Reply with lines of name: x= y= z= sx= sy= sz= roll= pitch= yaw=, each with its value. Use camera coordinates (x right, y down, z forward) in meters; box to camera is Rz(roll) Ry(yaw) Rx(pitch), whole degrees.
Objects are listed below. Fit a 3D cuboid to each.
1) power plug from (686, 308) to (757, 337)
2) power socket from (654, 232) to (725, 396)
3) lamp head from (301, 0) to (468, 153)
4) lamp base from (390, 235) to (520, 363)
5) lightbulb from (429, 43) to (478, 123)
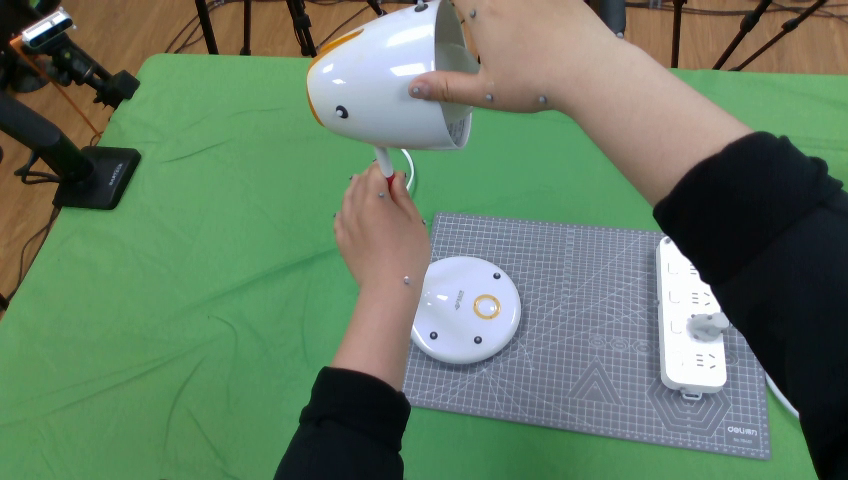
power plug: x=0.361 y=0.107 z=0.744 sx=0.072 sy=0.053 sz=0.035 roll=15 pitch=64 yaw=13
power socket: x=0.340 y=0.087 z=0.782 sx=0.072 sy=0.033 sz=0.225 roll=4 pitch=60 yaw=9
lamp head: x=-0.032 y=-0.120 z=0.484 sx=0.122 sy=0.113 sz=0.111 roll=-7 pitch=57 yaw=22
lamp base: x=0.027 y=0.051 z=0.760 sx=0.179 sy=0.182 sz=0.159 roll=-1 pitch=59 yaw=11
lightbulb: x=-0.011 y=-0.120 z=0.470 sx=0.107 sy=0.060 sz=0.059 roll=3 pitch=59 yaw=21
